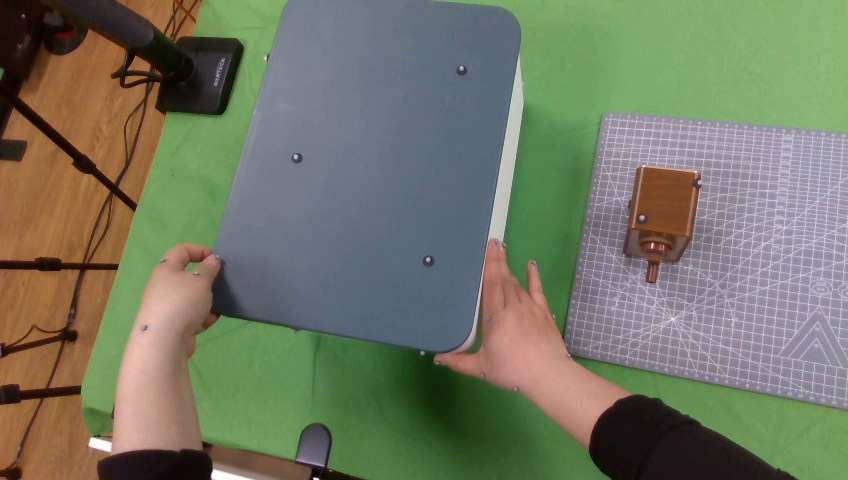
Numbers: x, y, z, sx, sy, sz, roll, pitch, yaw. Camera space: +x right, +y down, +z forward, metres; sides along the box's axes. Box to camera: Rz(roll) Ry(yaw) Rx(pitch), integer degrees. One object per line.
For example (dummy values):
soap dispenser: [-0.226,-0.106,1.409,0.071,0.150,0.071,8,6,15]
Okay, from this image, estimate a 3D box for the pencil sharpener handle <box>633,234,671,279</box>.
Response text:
pencil sharpener handle: [0.232,0.019,0.620,0.036,0.068,0.030,7,77,24]

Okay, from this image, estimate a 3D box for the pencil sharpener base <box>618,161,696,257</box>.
pencil sharpener base: [0.244,-0.027,0.642,0.061,0.108,0.076,9,77,17]

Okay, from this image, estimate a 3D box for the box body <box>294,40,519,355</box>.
box body: [-0.037,-0.061,0.698,0.253,0.161,0.362,6,76,15]

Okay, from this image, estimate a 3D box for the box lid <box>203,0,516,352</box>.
box lid: [-0.058,-0.088,0.610,0.263,0.015,0.369,8,76,6]
